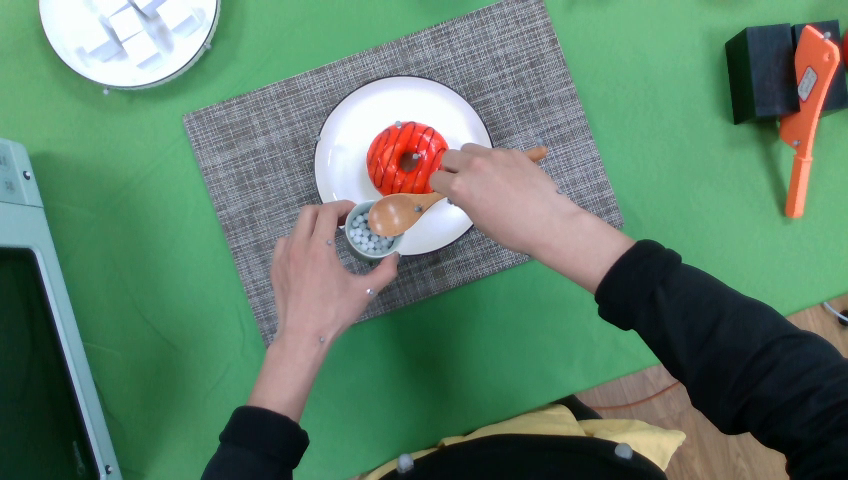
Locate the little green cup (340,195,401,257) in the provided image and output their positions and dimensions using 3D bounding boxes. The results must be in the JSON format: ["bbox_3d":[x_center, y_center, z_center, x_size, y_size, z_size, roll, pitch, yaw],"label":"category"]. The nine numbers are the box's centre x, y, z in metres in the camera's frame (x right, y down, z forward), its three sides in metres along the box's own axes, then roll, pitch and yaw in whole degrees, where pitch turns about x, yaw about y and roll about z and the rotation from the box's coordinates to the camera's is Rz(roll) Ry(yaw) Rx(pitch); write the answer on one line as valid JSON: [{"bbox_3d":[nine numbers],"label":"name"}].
[{"bbox_3d":[-0.057,-0.012,0.622,0.062,0.038,0.061,4,74,-14],"label":"little green cup"}]

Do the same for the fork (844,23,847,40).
[{"bbox_3d":[0.576,-0.234,0.651,0.206,0.019,0.028,9,87,42],"label":"fork"}]

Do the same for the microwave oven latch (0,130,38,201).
[{"bbox_3d":[-0.467,-0.082,0.685,0.030,0.029,0.079,-16,90,-1],"label":"microwave oven latch"}]

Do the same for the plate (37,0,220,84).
[{"bbox_3d":[-0.337,-0.282,0.705,0.208,0.039,0.207,0,89,0],"label":"plate"}]

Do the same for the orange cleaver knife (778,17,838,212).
[{"bbox_3d":[0.421,-0.137,0.682,0.012,0.076,0.213,-5,119,3],"label":"orange cleaver knife"}]

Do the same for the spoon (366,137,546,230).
[{"bbox_3d":[0.026,-0.053,0.572,0.193,0.022,0.041,-20,92,30],"label":"spoon"}]

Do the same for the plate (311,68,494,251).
[{"bbox_3d":[-0.024,-0.091,0.700,0.209,0.038,0.209,0,90,0],"label":"plate"}]

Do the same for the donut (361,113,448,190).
[{"bbox_3d":[-0.021,-0.095,0.689,0.099,0.048,0.099,0,92,1],"label":"donut"}]

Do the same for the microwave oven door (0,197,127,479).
[{"bbox_3d":[-0.406,0.126,0.582,0.039,0.244,0.355,-17,89,0],"label":"microwave oven door"}]

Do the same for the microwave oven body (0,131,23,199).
[{"bbox_3d":[-0.558,0.128,0.588,0.326,0.260,0.441,-17,90,-1],"label":"microwave oven body"}]
